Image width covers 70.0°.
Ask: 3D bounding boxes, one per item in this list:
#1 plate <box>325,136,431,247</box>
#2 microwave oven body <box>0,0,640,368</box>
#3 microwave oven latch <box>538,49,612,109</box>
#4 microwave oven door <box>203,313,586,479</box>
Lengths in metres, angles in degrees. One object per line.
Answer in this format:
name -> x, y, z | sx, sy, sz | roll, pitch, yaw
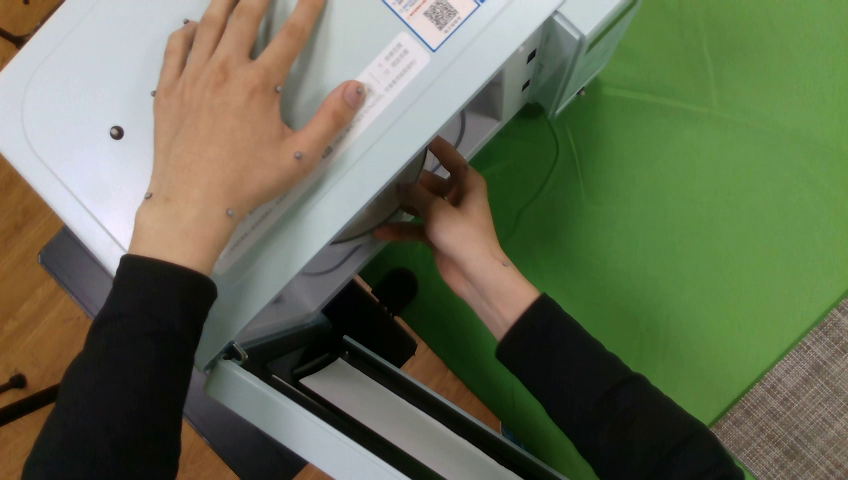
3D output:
plate -> -0.093, -0.096, 0.571 | 0.209, 0.038, 0.209 | 0, 89, 8
microwave oven body -> -0.086, -0.154, 0.551 | 0.442, 0.260, 0.325 | -45, 85, 4
microwave oven latch -> 0.154, -0.173, 0.622 | 0.079, 0.029, 0.030 | -43, 85, 5
microwave oven door -> 0.011, 0.183, 0.532 | 0.355, 0.244, 0.039 | 31, 93, 6
